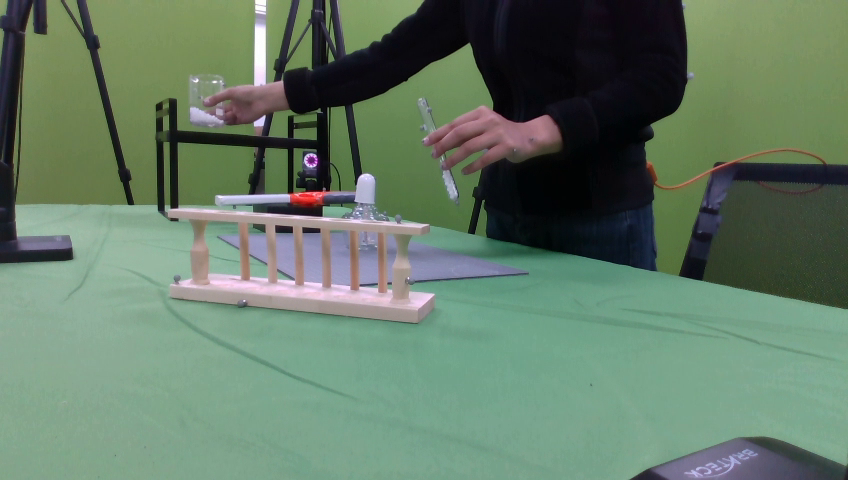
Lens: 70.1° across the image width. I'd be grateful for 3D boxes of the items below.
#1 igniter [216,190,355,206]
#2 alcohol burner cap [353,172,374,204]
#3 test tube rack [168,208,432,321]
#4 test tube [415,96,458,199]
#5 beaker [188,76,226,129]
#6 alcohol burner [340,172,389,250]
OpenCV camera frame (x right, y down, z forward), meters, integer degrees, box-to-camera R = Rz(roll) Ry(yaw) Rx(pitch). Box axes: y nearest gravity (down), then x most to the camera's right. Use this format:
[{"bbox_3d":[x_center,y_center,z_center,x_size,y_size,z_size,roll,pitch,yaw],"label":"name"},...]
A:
[{"bbox_3d":[-0.249,-0.080,1.152,0.278,0.025,0.057,-4,12,-27],"label":"igniter"},{"bbox_3d":[-0.092,-0.081,0.935,0.034,0.048,0.034,6,7,0],"label":"alcohol burner cap"},{"bbox_3d":[-0.116,0.017,0.574,0.242,0.085,0.067,4,8,13],"label":"test tube rack"},{"bbox_3d":[0.017,-0.128,0.839,0.017,0.150,0.017,-19,-2,0],"label":"test tube"},{"bbox_3d":[-0.455,-0.286,1.266,0.074,0.100,0.084,0,5,12],"label":"beaker"},{"bbox_3d":[-0.094,-0.045,0.939,0.078,0.119,0.078,-1,7,0],"label":"alcohol burner"}]
